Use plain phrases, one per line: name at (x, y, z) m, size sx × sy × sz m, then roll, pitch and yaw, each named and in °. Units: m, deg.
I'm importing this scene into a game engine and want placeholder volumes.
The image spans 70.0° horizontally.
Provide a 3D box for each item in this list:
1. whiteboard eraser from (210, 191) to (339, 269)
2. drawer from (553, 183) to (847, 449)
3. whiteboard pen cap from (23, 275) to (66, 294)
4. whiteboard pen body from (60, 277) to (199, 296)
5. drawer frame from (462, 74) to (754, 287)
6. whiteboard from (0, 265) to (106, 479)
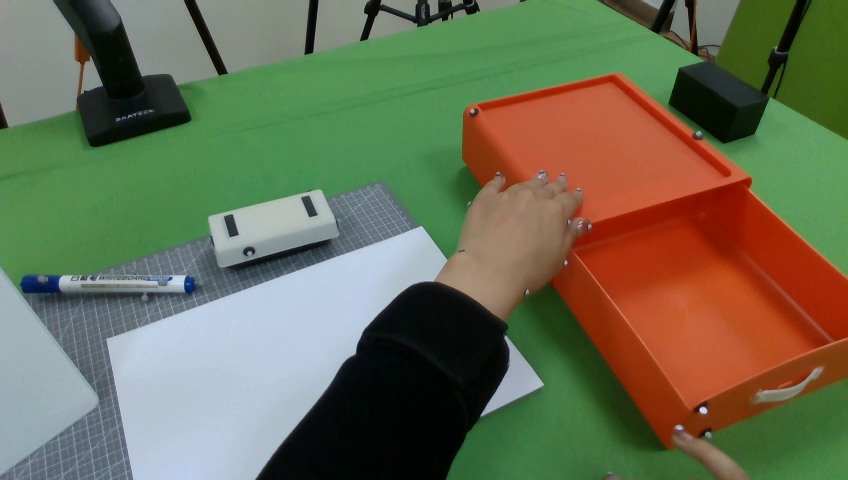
whiteboard eraser at (-0.142, -0.008, 0.578) m, size 0.113 × 0.042 × 0.055 m, roll -17°, pitch 45°, yaw -16°
drawer at (0.230, 0.041, 0.505) m, size 0.195 × 0.074 × 0.209 m, roll -16°, pitch 47°, yaw -14°
whiteboard pen cap at (-0.334, 0.040, 0.538) m, size 0.033 × 0.018 × 0.018 m, roll 0°, pitch 43°, yaw -6°
whiteboard pen body at (-0.275, 0.041, 0.542) m, size 0.141 × 0.017 × 0.017 m, roll 0°, pitch 43°, yaw -4°
drawer frame at (0.171, -0.070, 0.616) m, size 0.202 × 0.083 × 0.211 m, roll -16°, pitch 45°, yaw -15°
whiteboard at (-0.402, 0.046, 0.379) m, size 0.142 × 0.308 × 0.217 m, roll 15°, pitch 43°, yaw 43°
